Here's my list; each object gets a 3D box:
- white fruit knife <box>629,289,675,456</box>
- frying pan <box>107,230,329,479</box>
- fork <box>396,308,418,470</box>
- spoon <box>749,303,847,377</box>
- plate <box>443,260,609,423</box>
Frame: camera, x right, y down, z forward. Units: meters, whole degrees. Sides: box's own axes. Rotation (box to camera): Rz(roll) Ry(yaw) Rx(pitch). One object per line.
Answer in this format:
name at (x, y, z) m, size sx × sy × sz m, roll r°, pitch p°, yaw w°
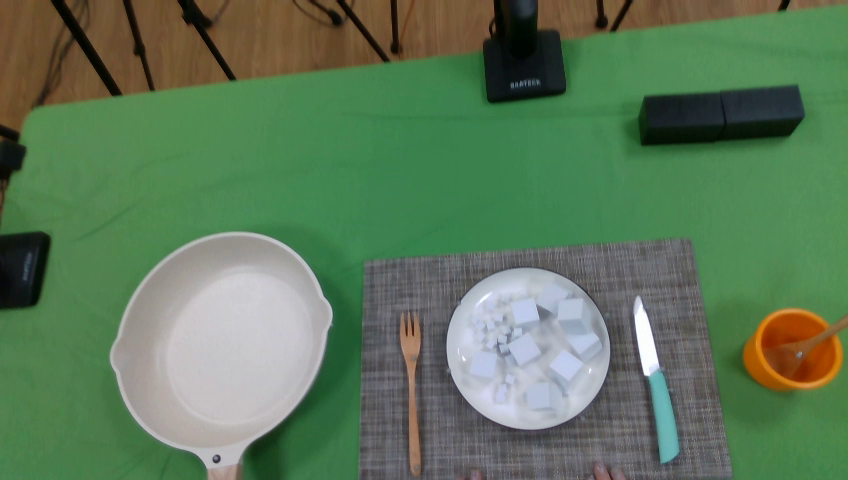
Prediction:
white fruit knife at (0.282, 0.159, 0.754) m, size 0.027 × 0.016 × 0.206 m, roll -5°, pitch 69°, yaw 3°
frying pan at (-0.256, 0.220, 0.772) m, size 0.307 × 0.104 × 0.483 m, roll -11°, pitch 60°, yaw 6°
fork at (-0.019, 0.190, 0.788) m, size 0.028 × 0.019 × 0.205 m, roll -2°, pitch 67°, yaw -3°
spoon at (0.451, 0.096, 0.683) m, size 0.022 × 0.194 × 0.041 m, roll -16°, pitch 62°, yaw -45°
plate at (0.128, 0.129, 0.778) m, size 0.207 × 0.039 × 0.206 m, roll -3°, pitch 69°, yaw 8°
